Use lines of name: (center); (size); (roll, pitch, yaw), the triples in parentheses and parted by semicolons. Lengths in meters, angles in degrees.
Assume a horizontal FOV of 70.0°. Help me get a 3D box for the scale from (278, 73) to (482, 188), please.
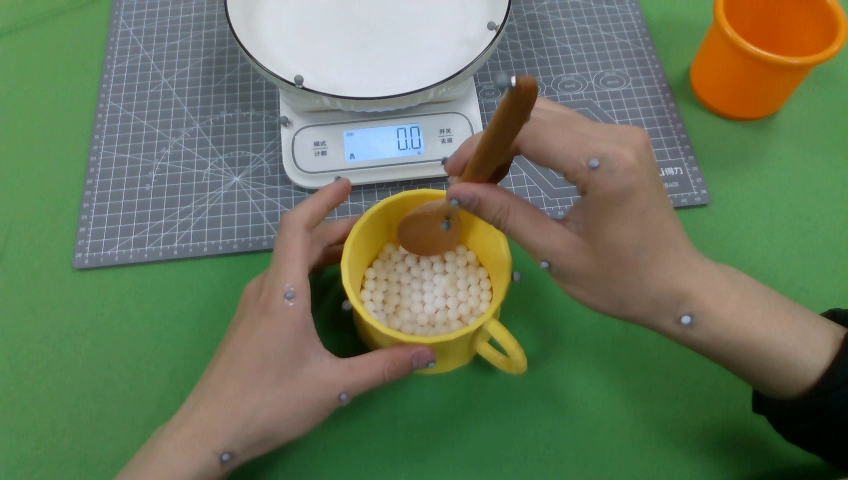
scale: (-0.039, -0.136, 0.471); (0.149, 0.032, 0.199); (-6, 65, -3)

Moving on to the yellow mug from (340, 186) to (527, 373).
yellow mug: (0.013, 0.035, 0.374); (0.130, 0.064, 0.100); (41, 73, 17)

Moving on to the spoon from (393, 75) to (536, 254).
spoon: (0.018, -0.026, 0.309); (0.042, 0.194, 0.021); (14, 72, -9)

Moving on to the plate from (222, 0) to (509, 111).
plate: (-0.042, -0.177, 0.454); (0.209, 0.038, 0.207); (1, 64, -1)
